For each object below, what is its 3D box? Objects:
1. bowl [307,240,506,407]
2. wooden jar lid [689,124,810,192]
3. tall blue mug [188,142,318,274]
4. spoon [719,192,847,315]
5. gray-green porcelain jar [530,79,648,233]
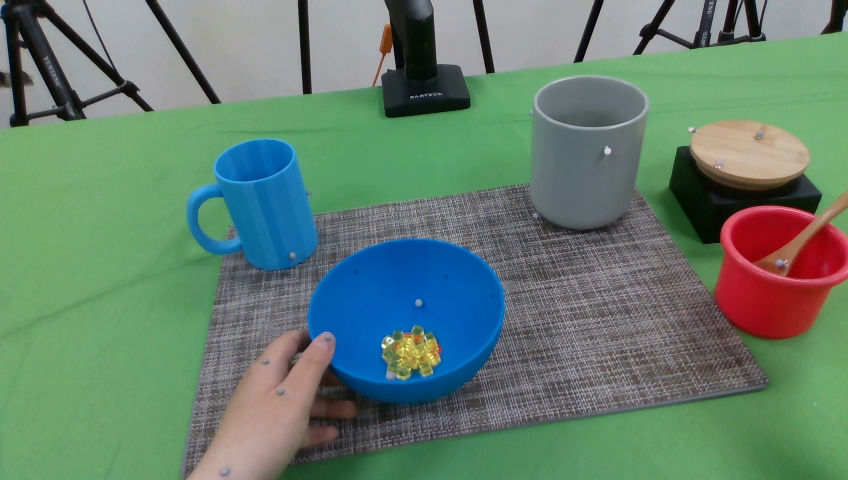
[{"bbox_3d":[-0.010,0.078,0.480,0.151,0.077,0.150,-3,41,3],"label":"bowl"},{"bbox_3d":[0.319,-0.081,0.601,0.108,0.021,0.107,-4,40,4],"label":"wooden jar lid"},{"bbox_3d":[-0.163,-0.023,0.591,0.077,0.109,0.107,25,49,30],"label":"tall blue mug"},{"bbox_3d":[0.323,-0.008,0.496,0.022,0.194,0.041,29,21,-31],"label":"spoon"},{"bbox_3d":[0.160,-0.079,0.607,0.106,0.128,0.105,-3,41,3],"label":"gray-green porcelain jar"}]
